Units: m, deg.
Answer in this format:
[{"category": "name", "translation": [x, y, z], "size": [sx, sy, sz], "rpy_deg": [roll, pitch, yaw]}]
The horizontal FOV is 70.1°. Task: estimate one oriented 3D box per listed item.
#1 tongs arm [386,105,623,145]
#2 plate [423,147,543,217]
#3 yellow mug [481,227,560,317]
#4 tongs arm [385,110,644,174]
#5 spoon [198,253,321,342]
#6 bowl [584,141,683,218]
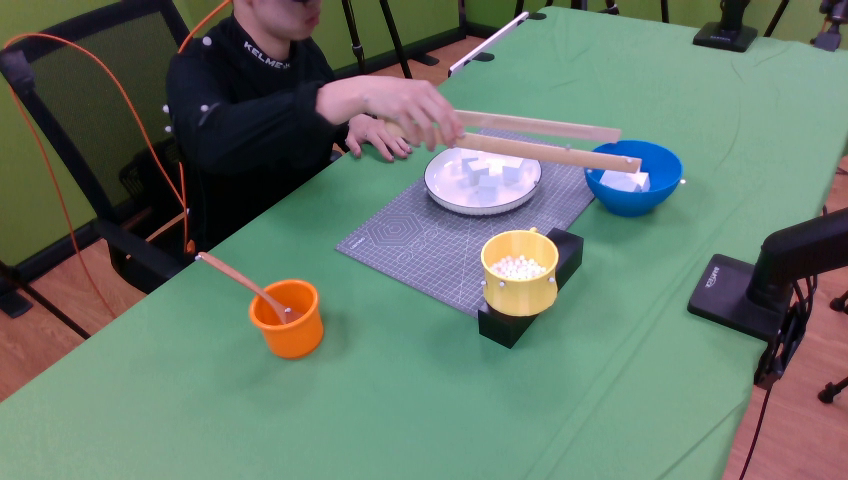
[{"category": "tongs arm", "translation": [0.132, -0.175, 0.936], "size": [0.389, 0.028, 0.028], "rpy_deg": [3, 42, -14]}, {"category": "plate", "translation": [0.103, -0.104, 1.059], "size": [0.207, 0.039, 0.206], "rpy_deg": [-4, 40, 4]}, {"category": "yellow mug", "translation": [0.131, 0.032, 0.801], "size": [0.099, 0.064, 0.131], "rpy_deg": [11, 43, 20]}, {"category": "tongs arm", "translation": [0.136, -0.143, 0.893], "size": [0.386, 0.026, 0.050], "rpy_deg": [6, 38, -10]}, {"category": "spoon", "translation": [-0.220, 0.075, 0.814], "size": [0.021, 0.194, 0.041], "rpy_deg": [-37, 18, 39]}, {"category": "bowl", "translation": [0.335, -0.089, 0.982], "size": [0.151, 0.077, 0.150], "rpy_deg": [-4, 40, 3]}]
